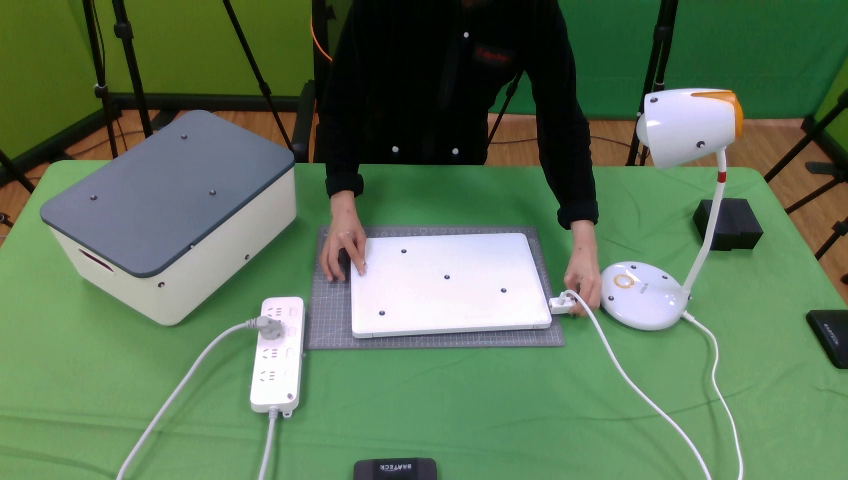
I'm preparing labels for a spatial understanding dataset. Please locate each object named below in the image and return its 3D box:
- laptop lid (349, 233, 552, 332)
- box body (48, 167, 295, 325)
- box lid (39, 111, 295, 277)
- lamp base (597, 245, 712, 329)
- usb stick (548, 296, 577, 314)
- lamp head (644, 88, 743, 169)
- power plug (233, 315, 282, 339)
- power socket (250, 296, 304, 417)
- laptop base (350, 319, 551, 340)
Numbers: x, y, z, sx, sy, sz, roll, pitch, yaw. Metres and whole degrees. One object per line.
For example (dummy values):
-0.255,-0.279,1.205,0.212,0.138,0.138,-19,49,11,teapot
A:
0.040,0.071,1.119,0.357,0.013,0.240,-1,44,-5,laptop lid
-0.437,-0.046,1.110,0.253,0.161,0.363,24,49,18,box body
-0.434,-0.097,1.055,0.262,0.015,0.370,25,49,18,box lid
0.418,0.051,1.071,0.179,0.181,0.160,22,49,13,lamp base
0.241,0.117,1.089,0.059,0.027,0.021,-5,56,-8,usb stick
0.380,-0.161,0.851,0.122,0.113,0.112,-4,42,25,lamp head
-0.271,0.144,1.000,0.072,0.053,0.035,5,46,3,power plug
-0.239,0.182,0.997,0.072,0.033,0.225,-2,47,-5,power socket
0.040,0.081,1.126,0.355,0.023,0.234,-2,43,-6,laptop base
